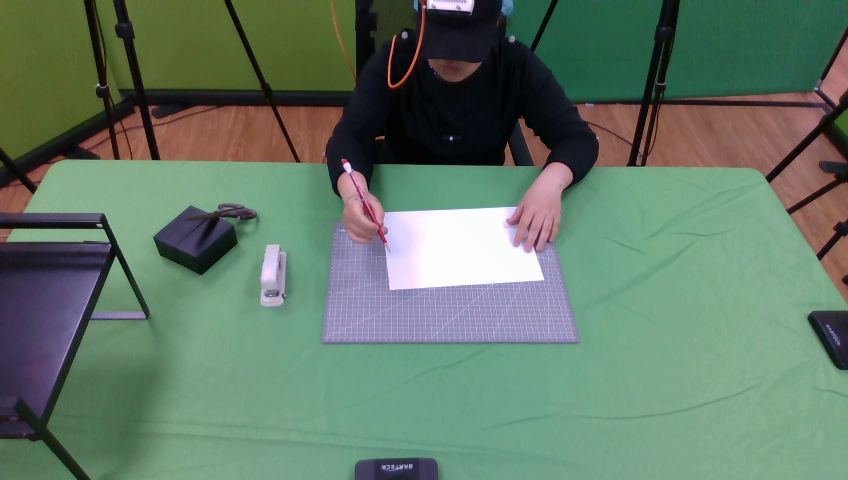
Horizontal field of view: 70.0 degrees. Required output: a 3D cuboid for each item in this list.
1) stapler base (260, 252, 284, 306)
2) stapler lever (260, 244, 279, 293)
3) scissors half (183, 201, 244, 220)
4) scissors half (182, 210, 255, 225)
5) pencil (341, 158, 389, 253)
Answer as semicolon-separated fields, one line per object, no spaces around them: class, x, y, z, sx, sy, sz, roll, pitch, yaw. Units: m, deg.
stapler base;-0.280;0.064;1.113;0.041;0.024;0.129;-1;44;-9
stapler lever;-0.279;0.045;1.096;0.027;0.040;0.117;-2;44;-9
scissors half;-0.405;-0.054;1.163;0.040;0.013;0.175;29;18;7
scissors half;-0.389;-0.042;1.158;0.040;0.013;0.175;41;21;22
pencil;-0.105;-0.062;1.079;0.012;0.012;0.193;-22;78;-23
